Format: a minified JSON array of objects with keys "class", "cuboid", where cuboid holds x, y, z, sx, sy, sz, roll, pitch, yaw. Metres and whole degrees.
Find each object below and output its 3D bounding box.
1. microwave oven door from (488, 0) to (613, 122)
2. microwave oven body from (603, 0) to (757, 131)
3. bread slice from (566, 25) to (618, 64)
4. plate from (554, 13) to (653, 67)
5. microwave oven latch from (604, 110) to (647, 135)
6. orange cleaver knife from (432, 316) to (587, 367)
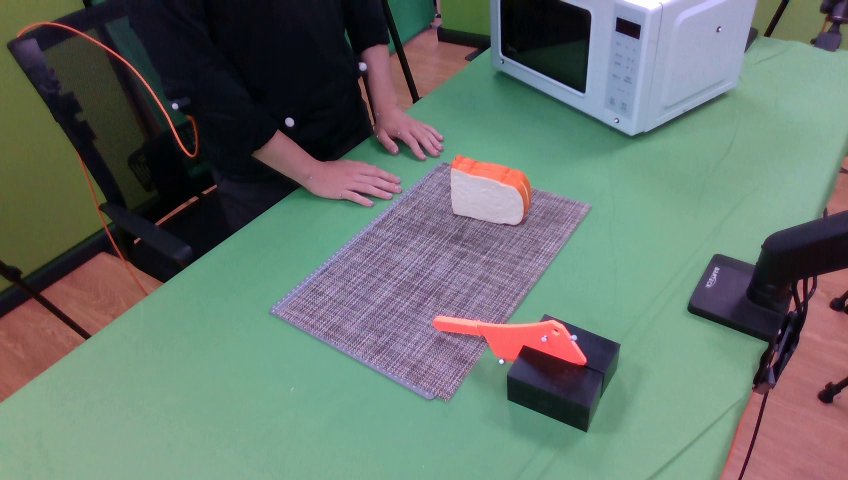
[{"class":"microwave oven door","cuboid":[0.250,-0.412,1.219,0.039,0.245,0.352,-27,44,-21]},{"class":"microwave oven body","cuboid":[0.396,-0.448,1.248,0.327,0.261,0.437,-27,44,-21]},{"class":"bread slice","cuboid":[0.362,-0.428,1.323,0.107,0.018,0.134,0,51,7]},{"class":"plate","cuboid":[0.386,-0.428,1.310,0.207,0.039,0.206,-4,45,4]},{"class":"microwave oven latch","cuboid":[0.378,-0.225,1.139,0.030,0.029,0.078,-27,43,-20]},{"class":"orange cleaver knife","cuboid":[0.101,0.127,0.761,0.210,0.077,0.012,-1,34,40]}]
